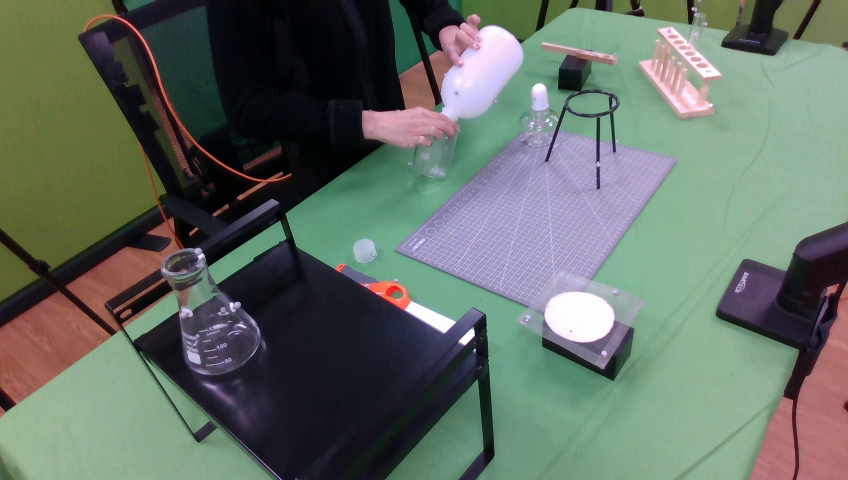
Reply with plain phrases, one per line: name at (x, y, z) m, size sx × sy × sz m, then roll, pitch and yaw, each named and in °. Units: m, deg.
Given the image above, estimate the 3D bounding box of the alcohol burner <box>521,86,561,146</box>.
alcohol burner at (0.223, -0.241, 1.155) m, size 0.078 × 0.119 × 0.077 m, roll -5°, pitch 43°, yaw 5°

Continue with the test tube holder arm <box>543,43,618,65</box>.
test tube holder arm at (0.344, -0.413, 1.340) m, size 0.177 × 0.015 × 0.013 m, roll 25°, pitch 50°, yaw 31°

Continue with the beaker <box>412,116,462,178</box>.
beaker at (0.024, -0.170, 1.109) m, size 0.085 × 0.100 × 0.073 m, roll 1°, pitch 21°, yaw -40°

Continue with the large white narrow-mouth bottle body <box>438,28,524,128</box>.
large white narrow-mouth bottle body at (0.093, -0.287, 1.107) m, size 0.101 × 0.102 × 0.194 m, roll 30°, pitch 78°, yaw 36°

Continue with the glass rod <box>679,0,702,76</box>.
glass rod at (0.543, -0.417, 1.233) m, size 0.008 × 0.200 × 0.008 m, roll 1°, pitch 40°, yaw 0°

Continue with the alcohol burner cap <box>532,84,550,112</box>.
alcohol burner cap at (0.218, -0.269, 1.133) m, size 0.034 × 0.048 × 0.033 m, roll -8°, pitch 36°, yaw 7°

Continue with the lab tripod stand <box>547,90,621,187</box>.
lab tripod stand at (0.289, -0.184, 1.062) m, size 0.148 × 0.132 × 0.147 m, roll -6°, pitch 41°, yaw 6°

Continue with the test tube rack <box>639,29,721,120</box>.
test tube rack at (0.527, -0.351, 1.262) m, size 0.067 × 0.085 × 0.241 m, roll -8°, pitch 40°, yaw 1°

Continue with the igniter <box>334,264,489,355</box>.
igniter at (-0.030, 0.094, 0.871) m, size 0.274 × 0.025 × 0.057 m, roll 22°, pitch 59°, yaw 31°

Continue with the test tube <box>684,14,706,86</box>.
test tube at (0.540, -0.378, 1.215) m, size 0.017 × 0.151 × 0.017 m, roll -2°, pitch 44°, yaw 3°

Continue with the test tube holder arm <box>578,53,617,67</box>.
test tube holder arm at (0.376, -0.393, 1.314) m, size 0.087 × 0.015 × 0.010 m, roll 26°, pitch 51°, yaw 32°

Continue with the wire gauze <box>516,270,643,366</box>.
wire gauze at (0.200, 0.093, 0.777) m, size 0.124 × 0.011 × 0.122 m, roll 23°, pitch 49°, yaw 32°

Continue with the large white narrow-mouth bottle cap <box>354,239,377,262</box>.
large white narrow-mouth bottle cap at (-0.095, 0.017, 0.981) m, size 0.038 × 0.024 × 0.037 m, roll -4°, pitch 40°, yaw 4°

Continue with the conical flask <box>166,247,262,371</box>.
conical flask at (-0.208, 0.064, 0.584) m, size 0.075 × 0.122 × 0.075 m, roll -5°, pitch 40°, yaw 4°
